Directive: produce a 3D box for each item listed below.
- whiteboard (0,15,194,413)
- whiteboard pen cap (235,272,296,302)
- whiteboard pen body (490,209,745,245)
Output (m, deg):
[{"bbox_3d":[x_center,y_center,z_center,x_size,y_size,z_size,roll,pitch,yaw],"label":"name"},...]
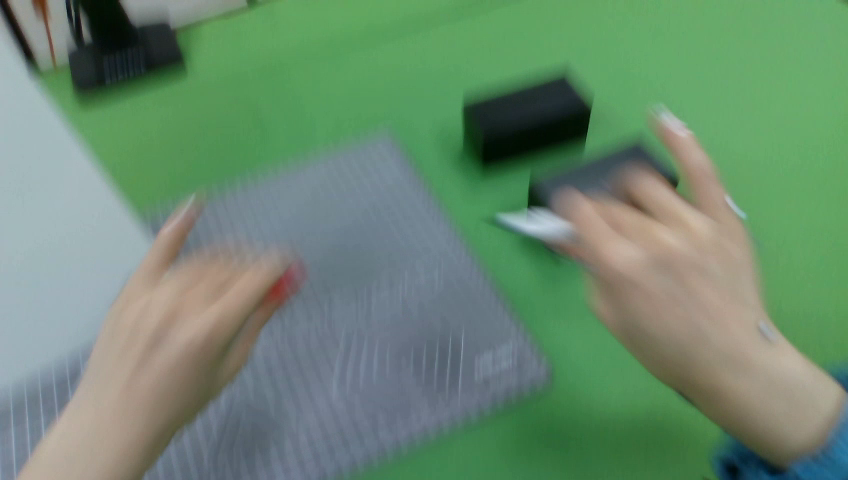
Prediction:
[{"bbox_3d":[-0.340,-0.044,0.401,0.217,0.308,0.142,-31,38,-16],"label":"whiteboard"},{"bbox_3d":[-0.093,0.028,0.356,0.032,0.017,0.017,-4,54,1],"label":"whiteboard pen cap"},{"bbox_3d":[0.106,-0.008,0.335,0.141,0.017,0.016,3,54,-3],"label":"whiteboard pen body"}]
